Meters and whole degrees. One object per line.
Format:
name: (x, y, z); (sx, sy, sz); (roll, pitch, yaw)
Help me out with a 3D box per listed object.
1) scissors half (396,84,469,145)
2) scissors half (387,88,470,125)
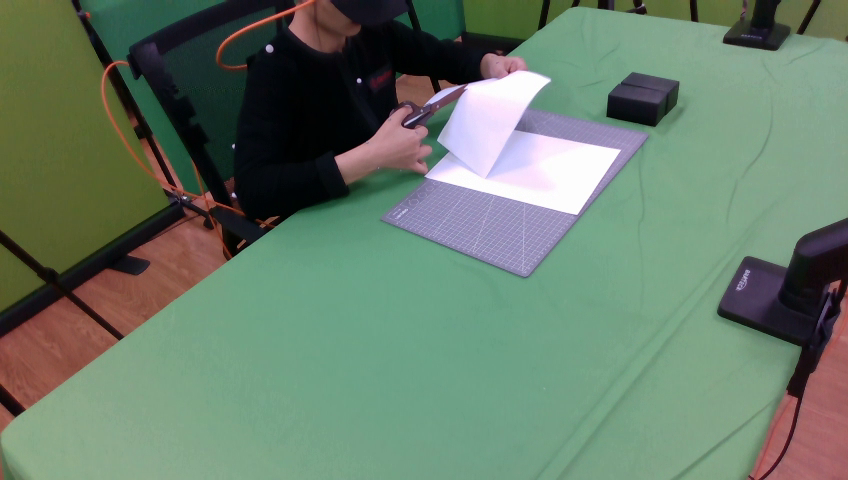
scissors half: (0.018, -0.240, 1.142); (0.175, 0.040, 0.012); (-42, 36, -3)
scissors half: (0.010, -0.256, 1.129); (0.176, 0.040, 0.012); (-22, 37, -18)
